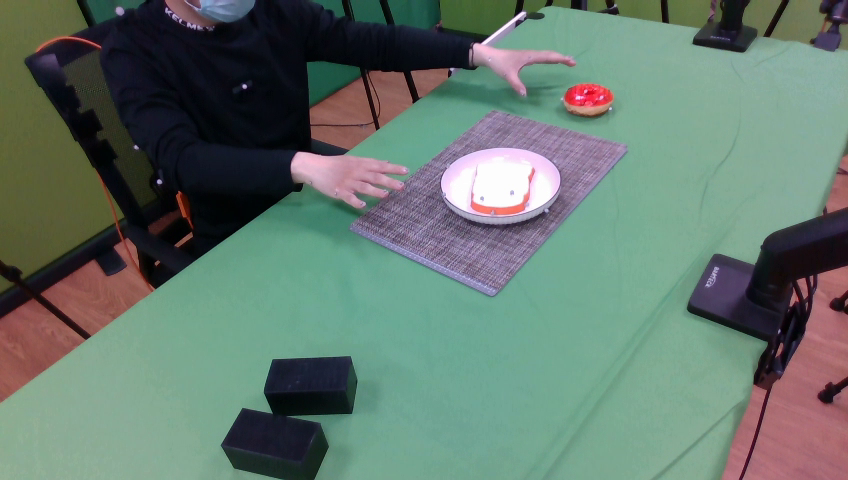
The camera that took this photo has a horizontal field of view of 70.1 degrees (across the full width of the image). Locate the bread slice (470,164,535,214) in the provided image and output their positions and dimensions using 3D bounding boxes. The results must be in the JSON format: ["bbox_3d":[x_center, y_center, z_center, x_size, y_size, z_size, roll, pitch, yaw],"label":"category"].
[{"bbox_3d":[0.134,-0.090,1.038,0.104,0.019,0.131,3,41,13],"label":"bread slice"}]

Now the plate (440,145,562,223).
[{"bbox_3d":[0.131,-0.093,1.040,0.207,0.039,0.206,-4,41,4],"label":"plate"}]

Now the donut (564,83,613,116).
[{"bbox_3d":[0.337,-0.288,1.239,0.099,0.048,0.098,-3,39,3],"label":"donut"}]
